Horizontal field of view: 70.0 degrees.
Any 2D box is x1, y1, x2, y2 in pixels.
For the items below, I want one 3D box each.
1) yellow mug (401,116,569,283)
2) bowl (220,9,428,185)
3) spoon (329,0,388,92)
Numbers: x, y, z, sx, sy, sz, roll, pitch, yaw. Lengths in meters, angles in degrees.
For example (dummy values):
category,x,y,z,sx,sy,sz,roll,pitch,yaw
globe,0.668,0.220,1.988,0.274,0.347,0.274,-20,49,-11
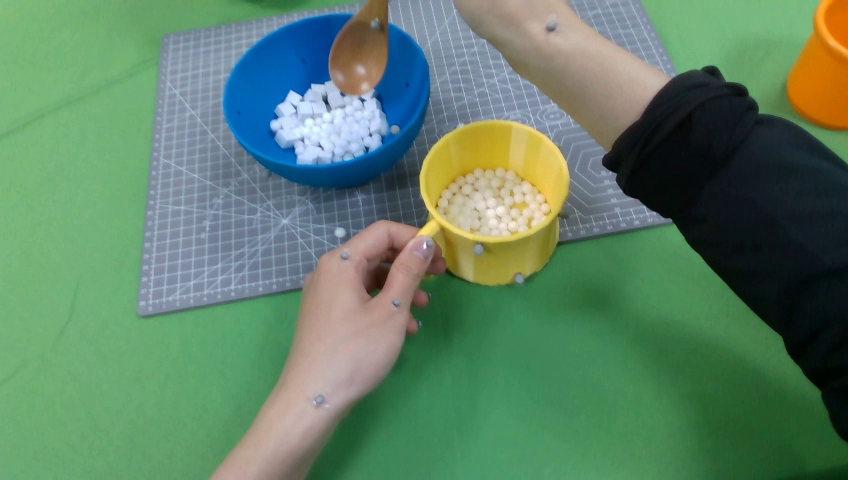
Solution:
category,x,y,z,sx,sy,sz,roll,pitch,yaw
yellow mug,0.036,-0.019,0.421,0.131,0.064,0.099,-39,64,-15
bowl,-0.068,-0.095,0.465,0.151,0.077,0.150,-2,60,4
spoon,-0.020,-0.176,0.380,0.041,0.194,0.021,30,44,-1
